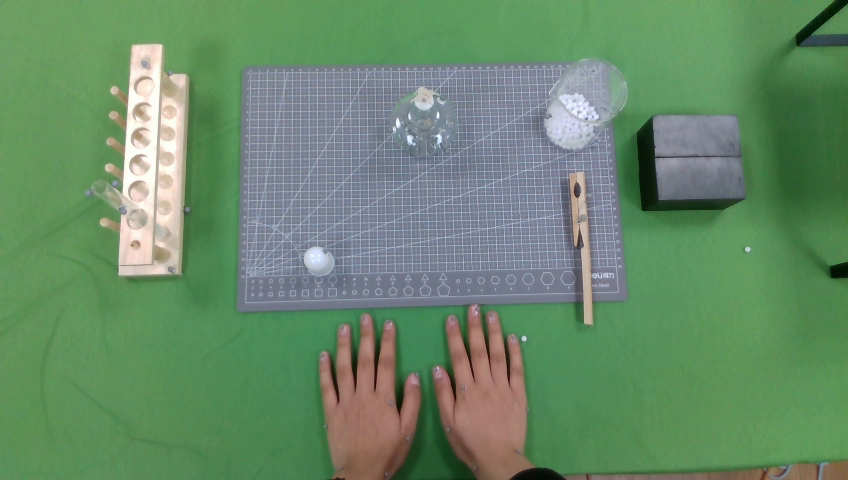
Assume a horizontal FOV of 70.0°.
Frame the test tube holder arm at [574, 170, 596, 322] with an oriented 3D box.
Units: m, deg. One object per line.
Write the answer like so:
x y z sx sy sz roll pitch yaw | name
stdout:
0.186 0.006 0.705 0.013 0.015 0.177 -9 80 30 | test tube holder arm

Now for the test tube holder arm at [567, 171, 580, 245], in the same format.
0.178 -0.038 0.714 0.010 0.015 0.087 -7 81 30 | test tube holder arm

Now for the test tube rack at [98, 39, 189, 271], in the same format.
-0.315 -0.090 0.674 0.067 0.085 0.241 -1 80 -2 | test tube rack

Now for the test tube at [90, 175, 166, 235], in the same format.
-0.295 -0.032 0.615 0.017 0.151 0.017 1 74 -2 | test tube

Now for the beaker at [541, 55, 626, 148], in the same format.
0.175 -0.152 0.692 0.084 0.100 0.073 -3 79 -1 | beaker

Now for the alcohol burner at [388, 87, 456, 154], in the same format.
-0.003 -0.141 0.677 0.078 0.119 0.077 0 80 0 | alcohol burner

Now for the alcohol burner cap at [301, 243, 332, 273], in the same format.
-0.123 0.018 0.681 0.034 0.048 0.033 1 80 -3 | alcohol burner cap
